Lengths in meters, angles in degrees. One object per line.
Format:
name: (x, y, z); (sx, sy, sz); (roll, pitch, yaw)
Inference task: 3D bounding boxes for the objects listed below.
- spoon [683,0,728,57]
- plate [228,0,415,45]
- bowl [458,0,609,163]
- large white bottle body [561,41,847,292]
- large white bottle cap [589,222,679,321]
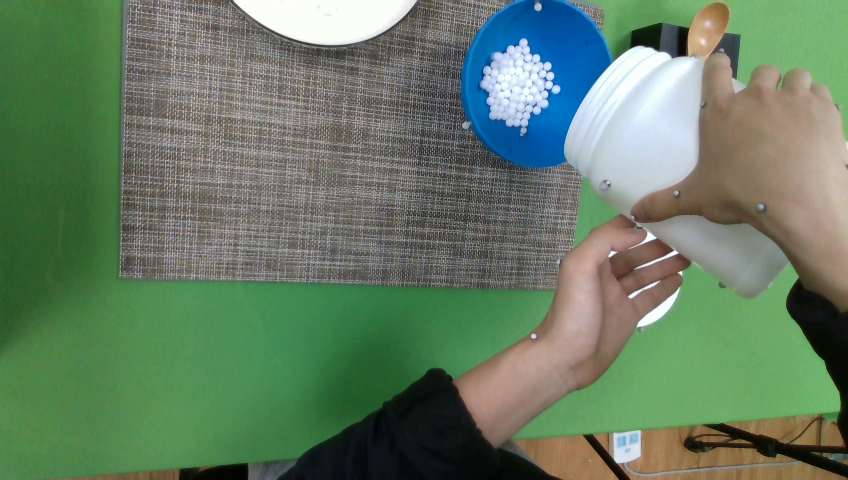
spoon: (0.260, -0.151, 0.621); (0.042, 0.021, 0.194); (15, 100, -22)
plate: (-0.093, -0.271, 0.519); (0.210, 0.038, 0.209); (-2, 97, -18)
bowl: (0.093, -0.150, 0.580); (0.152, 0.076, 0.151); (-3, 100, -17)
large white bottle body: (0.212, -0.062, 0.470); (0.183, 0.132, 0.130); (41, 84, 24)
large white bottle cap: (0.243, 0.037, 0.697); (0.115, 0.017, 0.115); (-3, 101, -18)
